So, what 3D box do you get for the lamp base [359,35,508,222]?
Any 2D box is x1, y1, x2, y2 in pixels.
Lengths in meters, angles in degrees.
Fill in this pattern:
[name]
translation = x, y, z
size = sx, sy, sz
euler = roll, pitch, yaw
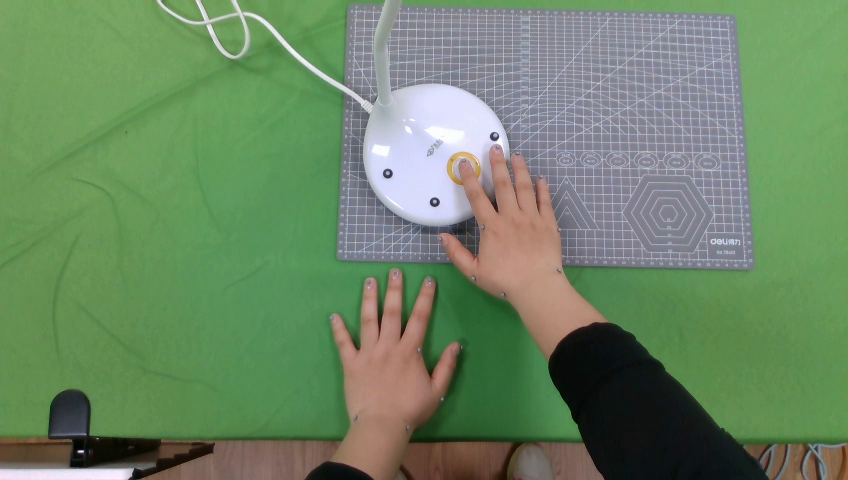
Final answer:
[lamp base]
translation = 0.000, -0.117, 0.584
size = 0.179, 0.181, 0.160
euler = 28, 81, 8
